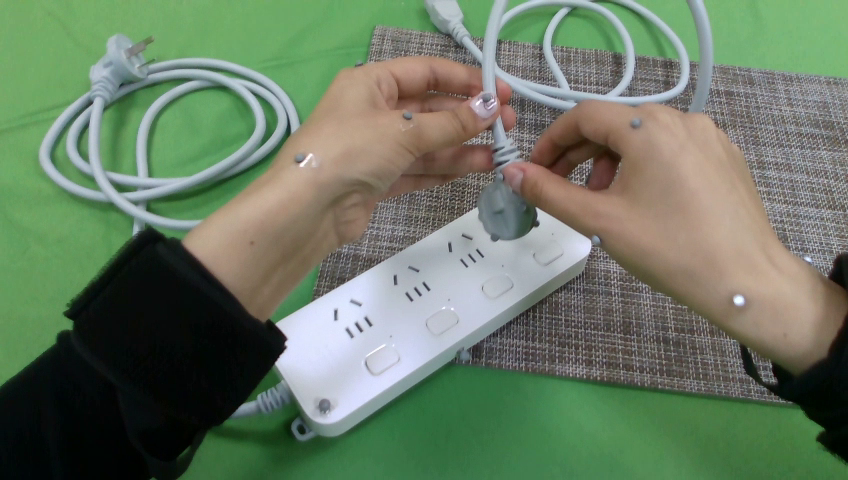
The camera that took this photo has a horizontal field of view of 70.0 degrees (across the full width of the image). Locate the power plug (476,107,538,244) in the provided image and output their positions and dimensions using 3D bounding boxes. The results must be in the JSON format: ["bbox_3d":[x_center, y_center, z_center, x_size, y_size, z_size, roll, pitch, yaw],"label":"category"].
[{"bbox_3d":[0.046,-0.034,0.348,0.035,0.052,0.072,-3,83,-16],"label":"power plug"}]

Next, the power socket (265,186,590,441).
[{"bbox_3d":[0.008,0.036,0.378,0.227,0.033,0.071,-30,64,-19],"label":"power socket"}]
